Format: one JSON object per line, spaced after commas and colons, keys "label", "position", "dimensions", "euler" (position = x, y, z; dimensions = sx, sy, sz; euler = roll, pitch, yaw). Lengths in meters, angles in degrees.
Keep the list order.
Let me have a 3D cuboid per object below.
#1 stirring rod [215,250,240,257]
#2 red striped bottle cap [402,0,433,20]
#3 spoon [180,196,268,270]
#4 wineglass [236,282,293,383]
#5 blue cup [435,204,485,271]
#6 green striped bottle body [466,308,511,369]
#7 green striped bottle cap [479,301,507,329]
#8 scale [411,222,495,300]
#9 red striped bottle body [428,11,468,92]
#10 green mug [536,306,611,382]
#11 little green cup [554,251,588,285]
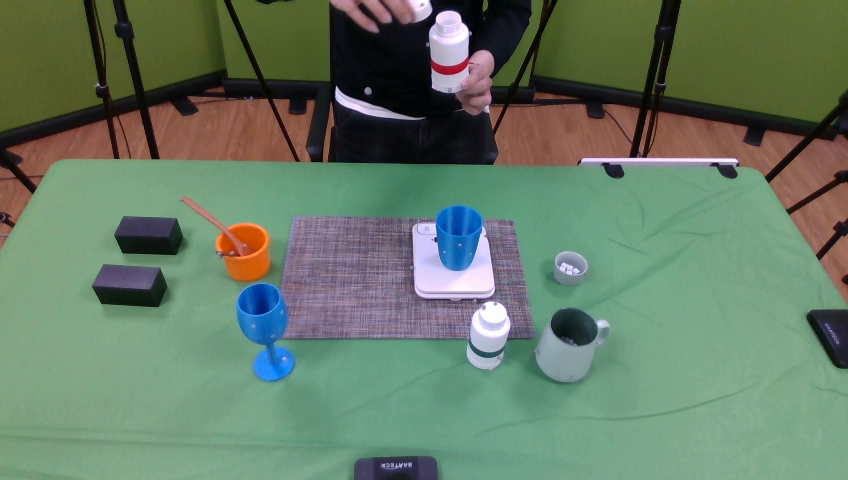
{"label": "stirring rod", "position": [-0.339, 0.024, 1.059], "dimensions": [0.014, 0.176, 0.006], "euler": [16, 86, -6]}
{"label": "red striped bottle cap", "position": [-0.011, -0.339, 0.888], "dimensions": [0.044, 0.018, 0.044], "euler": [-10, 39, 8]}
{"label": "spoon", "position": [-0.360, -0.014, 1.094], "dimensions": [0.021, 0.194, 0.041], "euler": [-27, 26, 31]}
{"label": "wineglass", "position": [-0.243, 0.143, 0.934], "dimensions": [0.074, 0.173, 0.073], "euler": [2, 46, -2]}
{"label": "blue cup", "position": [0.061, 0.001, 1.097], "dimensions": [0.092, 0.101, 0.092], "euler": [1, 44, 0]}
{"label": "green striped bottle body", "position": [0.106, 0.154, 0.988], "dimensions": [0.063, 0.120, 0.063], "euler": [2, 46, -2]}
{"label": "green striped bottle cap", "position": [0.109, 0.117, 0.950], "dimensions": [0.044, 0.020, 0.044], "euler": [2, 47, -2]}
{"label": "scale", "position": [0.052, 0.031, 1.158], "dimensions": [0.149, 0.032, 0.199], "euler": [1, 46, -4]}
{"label": "red striped bottle body", "position": [0.039, -0.303, 0.972], "dimensions": [0.063, 0.120, 0.062], "euler": [-2, 54, 3]}
{"label": "green mug", "position": [0.250, 0.167, 0.996], "dimensions": [0.125, 0.105, 0.092], "euler": [-15, 49, -19]}
{"label": "little green cup", "position": [0.276, 0.055, 1.151], "dimensions": [0.061, 0.039, 0.061], "euler": [1, 46, -1]}
